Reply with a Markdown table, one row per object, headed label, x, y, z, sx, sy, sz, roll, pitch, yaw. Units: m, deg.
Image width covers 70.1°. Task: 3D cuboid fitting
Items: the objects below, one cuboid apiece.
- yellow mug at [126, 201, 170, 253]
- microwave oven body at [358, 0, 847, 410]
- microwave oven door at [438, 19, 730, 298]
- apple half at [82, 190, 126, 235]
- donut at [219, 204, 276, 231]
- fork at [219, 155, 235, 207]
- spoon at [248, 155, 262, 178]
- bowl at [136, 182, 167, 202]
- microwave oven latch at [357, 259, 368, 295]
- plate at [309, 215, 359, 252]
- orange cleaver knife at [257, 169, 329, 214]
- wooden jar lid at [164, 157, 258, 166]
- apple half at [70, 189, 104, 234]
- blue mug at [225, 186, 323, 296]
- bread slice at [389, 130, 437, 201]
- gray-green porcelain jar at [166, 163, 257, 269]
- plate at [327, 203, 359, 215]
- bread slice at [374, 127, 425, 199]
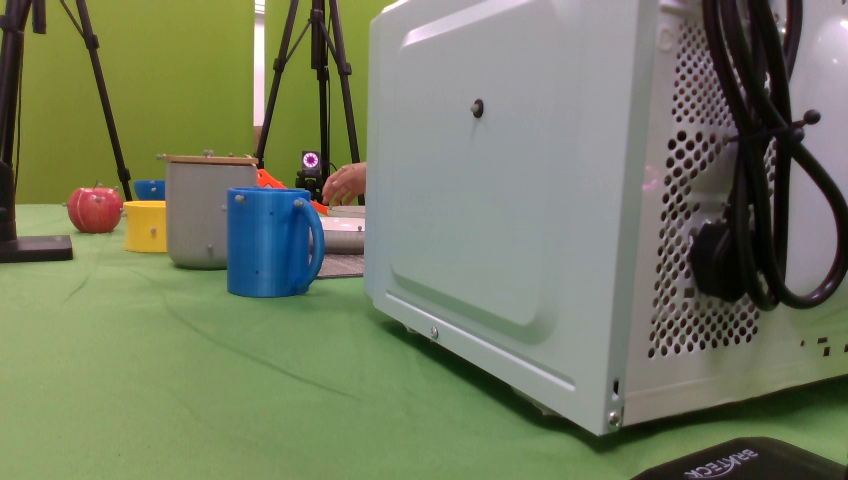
| label | x | y | z | sx | sy | sz | roll | pitch | yaw |
| --- | --- | --- | --- | --- | --- | --- | --- | --- | --- |
| yellow mug | -0.361 | -0.019 | 0.866 | 0.130 | 0.064 | 0.100 | 6 | 9 | 27 |
| microwave oven body | 0.210 | -0.051 | 0.471 | 0.444 | 0.260 | 0.324 | -1 | 7 | -28 |
| microwave oven door | 0.181 | -0.076 | 0.618 | 0.358 | 0.243 | 0.039 | -2 | 8 | -28 |
| apple half | -0.516 | -0.046 | 0.994 | 0.032 | 0.081 | 0.081 | 0 | 6 | 26 |
| donut | -0.316 | -0.039 | 1.083 | 0.099 | 0.048 | 0.099 | 2 | 6 | 0 |
| fork | -0.459 | -0.134 | 1.415 | 0.028 | 0.018 | 0.207 | -1 | -34 | -25 |
| spoon | -0.417 | -0.150 | 1.543 | 0.042 | 0.193 | 0.021 | -5 | -34 | -32 |
| bowl | -0.497 | -0.076 | 1.221 | 0.151 | 0.077 | 0.151 | 2 | 8 | 0 |
| microwave oven latch | -0.019 | 0.031 | 0.529 | 0.079 | 0.029 | 0.030 | -1 | 7 | -26 |
| plate | -0.130 | -0.011 | 0.945 | 0.208 | 0.039 | 0.207 | 2 | 7 | 0 |
| orange cleaver knife | -0.286 | -0.082 | 1.300 | 0.212 | 0.077 | 0.012 | 26 | -6 | -31 |
| wooden jar lid | -0.261 | -0.093 | 0.746 | 0.108 | 0.020 | 0.108 | 0 | 9 | 0 |
| apple half | -0.552 | -0.048 | 1.010 | 0.053 | 0.074 | 0.081 | -1 | 9 | 26 |
| blue mug | -0.148 | 0.000 | 0.618 | 0.116 | 0.106 | 0.083 | 7 | 9 | 33 |
| bread slice | -0.020 | -0.140 | 1.137 | 0.105 | 0.131 | 0.019 | -12 | 16 | -37 |
| gray-green porcelain jar | -0.263 | -0.031 | 0.754 | 0.106 | 0.126 | 0.106 | 2 | 7 | 0 |
| plate | -0.102 | -0.053 | 1.299 | 0.209 | 0.038 | 0.209 | 2 | 8 | 0 |
| bread slice | -0.048 | -0.152 | 1.180 | 0.107 | 0.134 | 0.018 | -11 | 11 | -37 |
